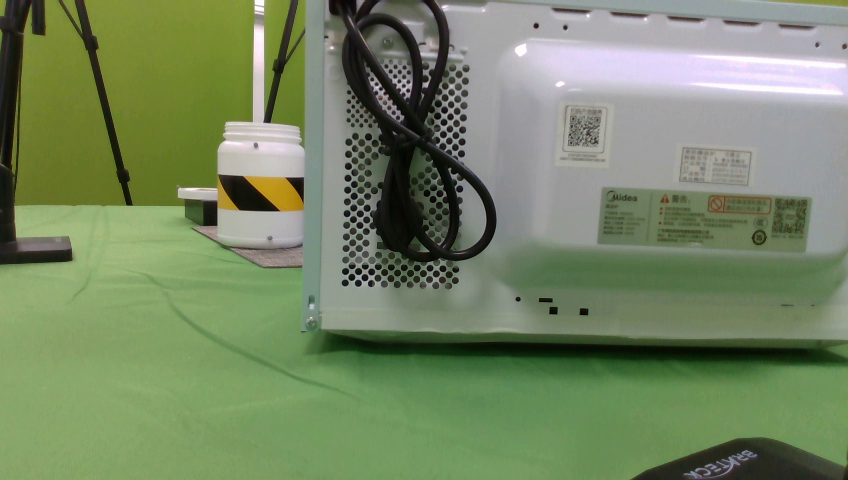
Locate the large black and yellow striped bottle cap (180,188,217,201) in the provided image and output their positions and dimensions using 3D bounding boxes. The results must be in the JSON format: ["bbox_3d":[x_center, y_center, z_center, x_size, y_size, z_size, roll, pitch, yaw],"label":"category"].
[{"bbox_3d":[-0.434,-0.093,1.226,0.115,0.019,0.115,3,9,0],"label":"large black and yellow striped bottle cap"}]

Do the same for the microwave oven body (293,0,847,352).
[{"bbox_3d":[0.122,-0.055,0.550,0.442,0.260,0.325,3,7,-5],"label":"microwave oven body"}]

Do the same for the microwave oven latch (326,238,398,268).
[{"bbox_3d":[-0.070,0.015,0.692,0.079,0.029,0.030,3,7,0],"label":"microwave oven latch"}]

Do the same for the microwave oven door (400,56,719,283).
[{"bbox_3d":[0.155,-0.077,0.698,0.356,0.243,0.039,2,8,-5],"label":"microwave oven door"}]

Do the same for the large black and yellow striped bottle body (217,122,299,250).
[{"bbox_3d":[-0.250,-0.084,0.930,0.131,0.184,0.130,3,7,0],"label":"large black and yellow striped bottle body"}]

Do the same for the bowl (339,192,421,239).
[{"bbox_3d":[-0.081,-0.045,1.110,0.151,0.077,0.151,3,7,0],"label":"bowl"}]
